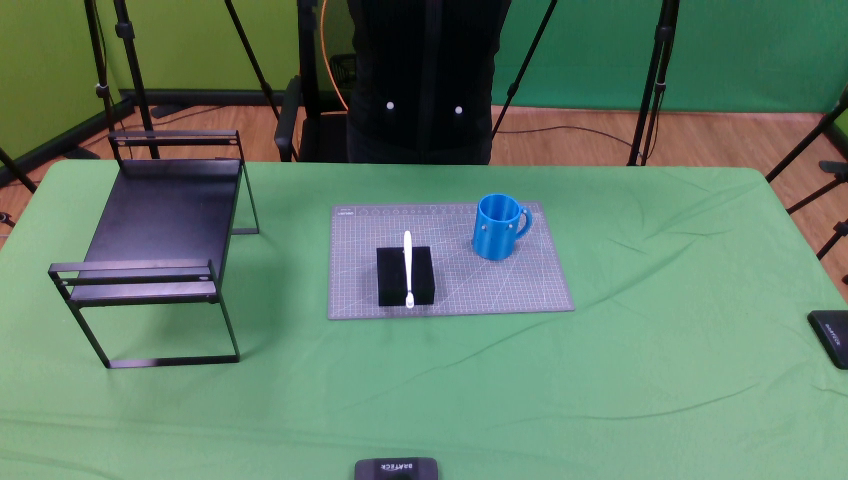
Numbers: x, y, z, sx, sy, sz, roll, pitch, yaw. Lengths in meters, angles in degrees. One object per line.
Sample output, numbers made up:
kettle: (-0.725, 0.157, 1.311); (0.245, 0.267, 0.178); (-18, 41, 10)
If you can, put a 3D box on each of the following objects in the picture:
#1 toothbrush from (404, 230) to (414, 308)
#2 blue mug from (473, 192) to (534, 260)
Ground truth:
toothbrush: (-0.028, 0.046, 1.082); (0.014, 0.017, 0.180); (-5, 46, 2)
blue mug: (0.156, -0.029, 1.173); (0.117, 0.106, 0.082); (-8, 47, -11)
